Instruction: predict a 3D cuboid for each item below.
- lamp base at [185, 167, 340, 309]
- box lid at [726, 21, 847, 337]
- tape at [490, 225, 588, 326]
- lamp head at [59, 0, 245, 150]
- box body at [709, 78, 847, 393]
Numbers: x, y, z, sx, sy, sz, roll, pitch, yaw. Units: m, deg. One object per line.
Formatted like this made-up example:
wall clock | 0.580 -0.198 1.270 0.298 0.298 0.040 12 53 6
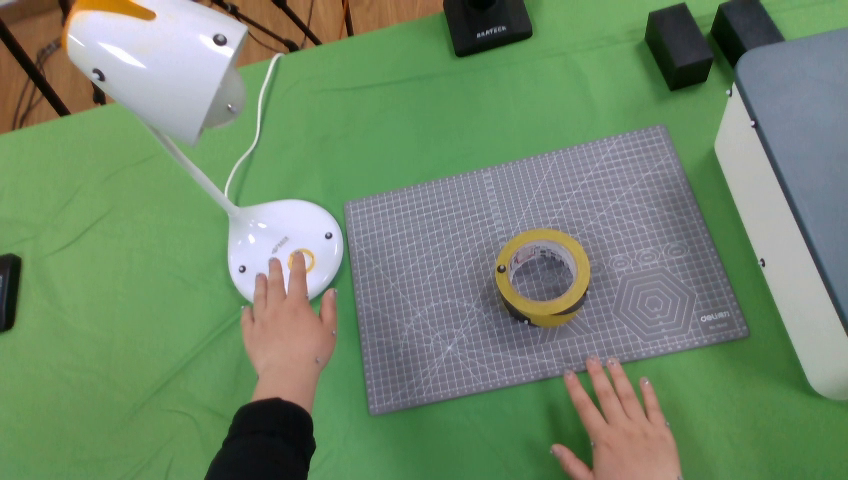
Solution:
lamp base | -0.217 -0.018 0.763 0.178 0.182 0.160 23 72 23
box lid | 0.477 -0.071 0.576 0.263 0.015 0.368 -13 65 6
tape | 0.140 0.042 0.733 0.117 0.053 0.116 -4 65 9
lamp head | -0.222 -0.146 0.492 0.123 0.112 0.112 22 69 -16
box body | 0.490 -0.039 0.641 0.254 0.162 0.361 -13 64 6
